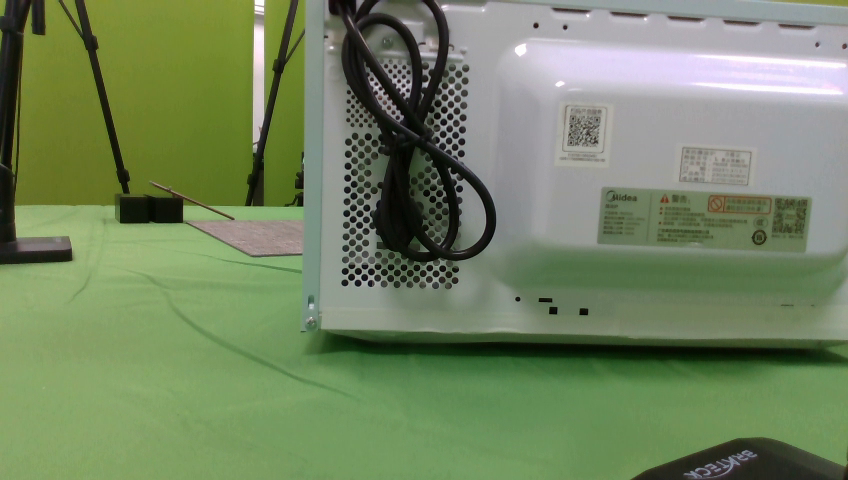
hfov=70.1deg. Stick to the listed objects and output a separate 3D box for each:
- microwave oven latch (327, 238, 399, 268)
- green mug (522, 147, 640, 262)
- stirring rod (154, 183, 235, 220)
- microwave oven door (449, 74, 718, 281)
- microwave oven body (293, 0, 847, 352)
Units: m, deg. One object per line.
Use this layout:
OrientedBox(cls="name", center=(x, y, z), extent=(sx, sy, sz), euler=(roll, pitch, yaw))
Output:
OrientedBox(cls="microwave oven latch", center=(-0.069, 0.015, 0.694), extent=(0.079, 0.029, 0.030), euler=(3, 7, -3))
OrientedBox(cls="green mug", center=(0.150, -0.038, 0.596), extent=(0.124, 0.105, 0.093), euler=(10, 13, 43))
OrientedBox(cls="stirring rod", center=(-0.472, -0.079, 1.252), extent=(0.177, 0.006, 0.014), euler=(27, 4, -35))
OrientedBox(cls="microwave oven door", center=(0.191, -0.090, 0.813), extent=(0.354, 0.243, 0.039), euler=(8, 10, 37))
OrientedBox(cls="microwave oven body", center=(0.122, -0.055, 0.550), extent=(0.442, 0.260, 0.325), euler=(3, 7, -5))
